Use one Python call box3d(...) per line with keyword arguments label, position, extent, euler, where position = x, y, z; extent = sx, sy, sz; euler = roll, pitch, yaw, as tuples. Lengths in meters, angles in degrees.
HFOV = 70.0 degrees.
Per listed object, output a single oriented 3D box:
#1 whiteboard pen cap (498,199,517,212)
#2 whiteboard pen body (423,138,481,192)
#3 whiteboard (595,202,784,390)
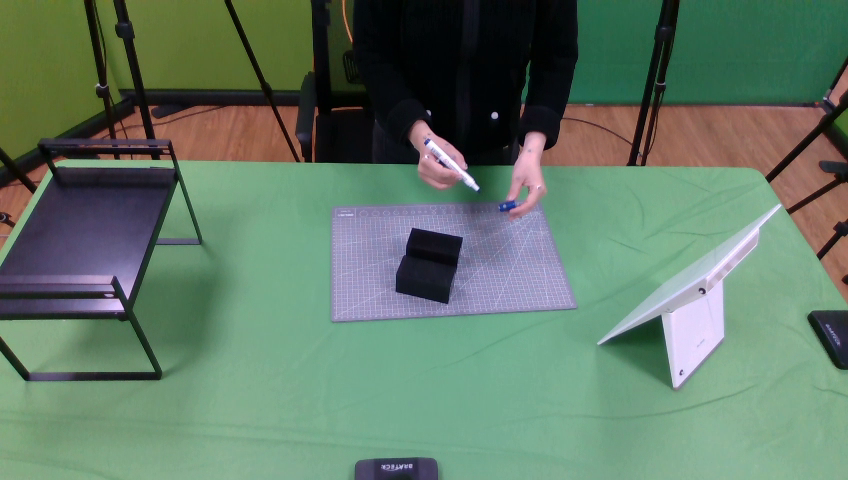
box3d(label="whiteboard pen cap", position=(0.159, -0.064, 1.146), extent=(0.033, 0.018, 0.018), euler=(-19, 45, 13))
box3d(label="whiteboard pen body", position=(0.054, -0.135, 1.103), extent=(0.141, 0.017, 0.017), euler=(42, 49, -11))
box3d(label="whiteboard", position=(0.459, 0.112, 0.968), extent=(0.217, 0.306, 0.143), euler=(-31, 75, -29))
